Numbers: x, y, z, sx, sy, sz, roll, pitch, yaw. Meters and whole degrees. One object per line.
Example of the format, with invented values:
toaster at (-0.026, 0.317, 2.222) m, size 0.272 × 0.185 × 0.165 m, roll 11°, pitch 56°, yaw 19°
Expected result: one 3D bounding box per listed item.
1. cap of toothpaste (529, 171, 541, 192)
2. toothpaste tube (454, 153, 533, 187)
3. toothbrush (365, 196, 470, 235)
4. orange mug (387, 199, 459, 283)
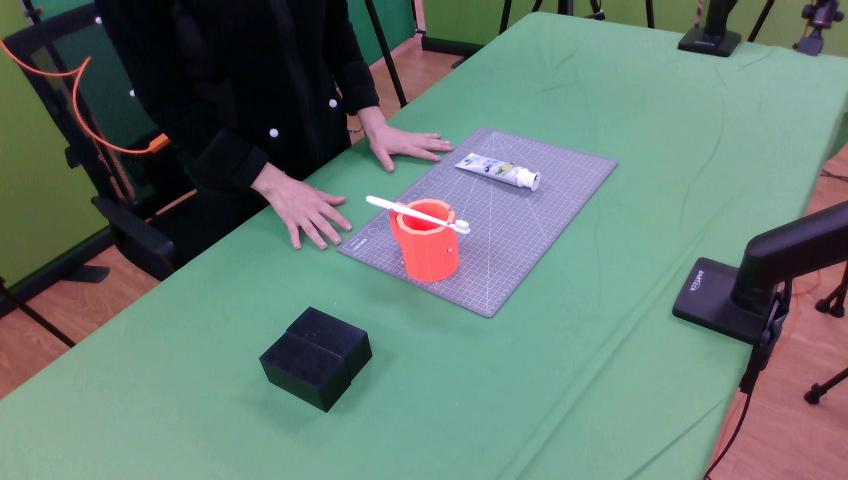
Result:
cap of toothpaste at (0.193, -0.103, 1.054) m, size 0.011 × 0.037 × 0.037 m, roll 19°, pitch 47°, yaw 25°
toothpaste tube at (0.134, -0.130, 1.104) m, size 0.163 × 0.034 × 0.055 m, roll 24°, pitch 44°, yaw 37°
toothbrush at (-0.013, -0.039, 0.880) m, size 0.180 × 0.017 × 0.014 m, roll 18°, pitch 50°, yaw 27°
orange mug at (-0.006, -0.007, 0.923) m, size 0.125 × 0.101 × 0.084 m, roll 32°, pitch 54°, yaw 32°
